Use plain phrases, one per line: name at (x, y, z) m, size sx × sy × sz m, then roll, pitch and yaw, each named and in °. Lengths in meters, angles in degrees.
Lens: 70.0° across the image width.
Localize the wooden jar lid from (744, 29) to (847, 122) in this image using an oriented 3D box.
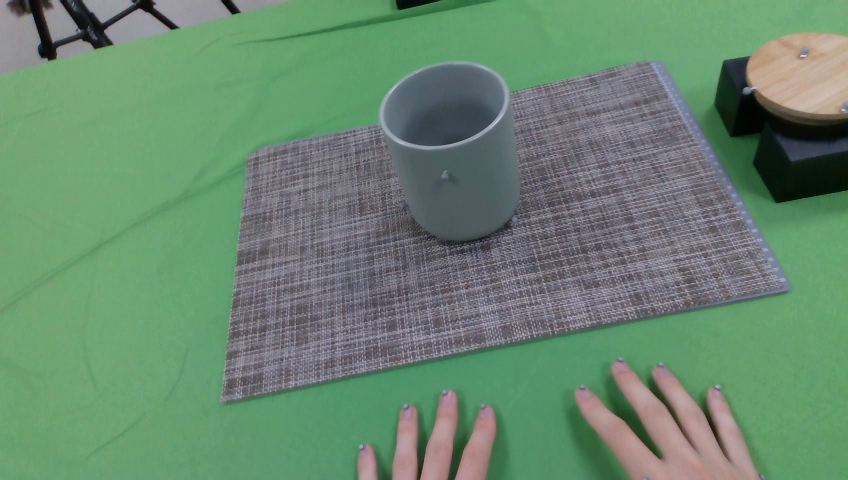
wooden jar lid at (0.327, -0.137, 0.507) m, size 0.108 × 0.021 × 0.107 m, roll -7°, pitch 53°, yaw 9°

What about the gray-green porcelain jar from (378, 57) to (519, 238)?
gray-green porcelain jar at (0.026, -0.072, 0.520) m, size 0.106 × 0.128 × 0.105 m, roll -7°, pitch 51°, yaw 9°
